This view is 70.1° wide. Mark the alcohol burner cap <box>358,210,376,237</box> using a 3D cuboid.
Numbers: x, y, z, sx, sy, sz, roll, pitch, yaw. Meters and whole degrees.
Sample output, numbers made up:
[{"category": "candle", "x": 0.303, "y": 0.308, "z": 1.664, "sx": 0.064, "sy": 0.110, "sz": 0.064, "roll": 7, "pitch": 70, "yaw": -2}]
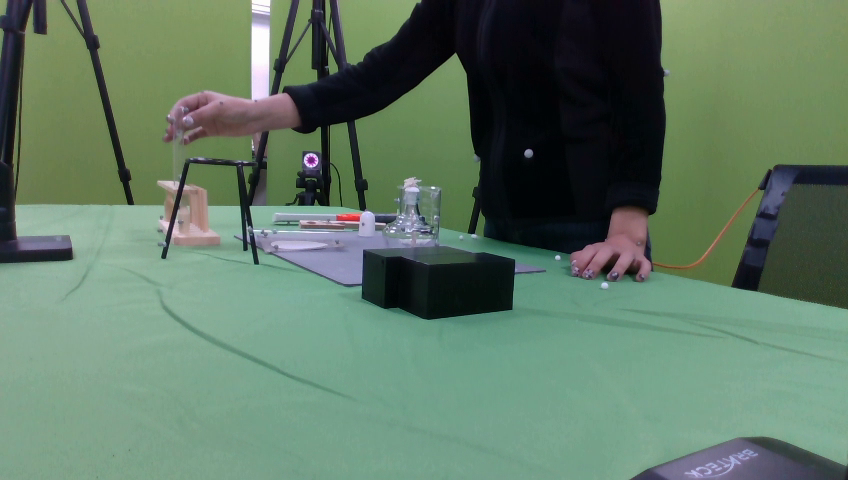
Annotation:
[{"category": "alcohol burner cap", "x": -0.104, "y": -0.030, "z": 1.098, "sx": 0.034, "sy": 0.048, "sz": 0.034, "roll": 2, "pitch": 7, "yaw": 0}]

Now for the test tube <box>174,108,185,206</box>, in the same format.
[{"category": "test tube", "x": -0.375, "y": -0.127, "z": 0.928, "sx": 0.017, "sy": 0.150, "sz": 0.017, "roll": 2, "pitch": 6, "yaw": 0}]

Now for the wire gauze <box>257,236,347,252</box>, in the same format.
[{"category": "wire gauze", "x": -0.190, "y": 0.005, "z": 0.931, "sx": 0.122, "sy": 0.011, "sz": 0.124, "roll": 1, "pitch": 7, "yaw": -21}]

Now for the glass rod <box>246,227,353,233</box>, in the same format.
[{"category": "glass rod", "x": -0.224, "y": -0.017, "z": 1.109, "sx": 0.201, "sy": 0.008, "sz": 0.008, "roll": 1, "pitch": 7, "yaw": -27}]

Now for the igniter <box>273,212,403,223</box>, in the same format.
[{"category": "igniter", "x": -0.179, "y": -0.048, "z": 1.290, "sx": 0.278, "sy": 0.025, "sz": 0.057, "roll": -1, "pitch": -2, "yaw": -24}]

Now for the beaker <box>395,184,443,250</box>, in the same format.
[{"category": "beaker", "x": -0.007, "y": -0.037, "z": 0.964, "sx": 0.074, "sy": 0.100, "sz": 0.083, "roll": -4, "pitch": 10, "yaw": -40}]

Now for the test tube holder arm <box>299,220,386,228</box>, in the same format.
[{"category": "test tube holder arm", "x": -0.158, "y": -0.031, "z": 1.195, "sx": 0.179, "sy": 0.015, "sz": 0.013, "roll": -1, "pitch": 42, "yaw": -28}]

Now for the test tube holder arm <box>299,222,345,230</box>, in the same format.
[{"category": "test tube holder arm", "x": -0.196, "y": -0.027, "z": 1.170, "sx": 0.088, "sy": 0.015, "sz": 0.010, "roll": -1, "pitch": 42, "yaw": -28}]

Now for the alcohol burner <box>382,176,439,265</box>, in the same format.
[{"category": "alcohol burner", "x": -0.018, "y": -0.026, "z": 0.818, "sx": 0.078, "sy": 0.119, "sz": 0.078, "roll": 3, "pitch": 9, "yaw": 0}]

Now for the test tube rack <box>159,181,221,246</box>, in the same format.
[{"category": "test tube rack", "x": -0.395, "y": -0.050, "z": 1.010, "sx": 0.067, "sy": 0.085, "sz": 0.241, "roll": -2, "pitch": 9, "yaw": -28}]

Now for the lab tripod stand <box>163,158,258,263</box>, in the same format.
[{"category": "lab tripod stand", "x": -0.265, "y": -0.041, "z": 0.802, "sx": 0.148, "sy": 0.131, "sz": 0.148, "roll": 4, "pitch": 7, "yaw": 0}]
